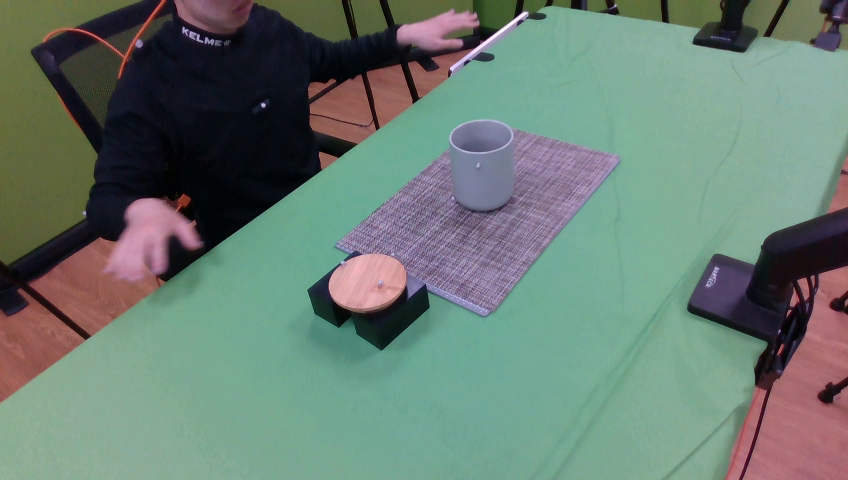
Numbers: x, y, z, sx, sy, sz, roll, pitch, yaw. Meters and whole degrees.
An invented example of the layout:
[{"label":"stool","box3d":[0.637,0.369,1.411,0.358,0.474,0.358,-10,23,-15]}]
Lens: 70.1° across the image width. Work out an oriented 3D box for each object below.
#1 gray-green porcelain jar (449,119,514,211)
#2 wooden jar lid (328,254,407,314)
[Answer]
[{"label":"gray-green porcelain jar","box3d":[0.098,-0.120,1.008,0.106,0.127,0.105,-4,41,4]},{"label":"wooden jar lid","box3d":[-0.077,0.062,0.832,0.108,0.021,0.108,-4,39,4]}]
